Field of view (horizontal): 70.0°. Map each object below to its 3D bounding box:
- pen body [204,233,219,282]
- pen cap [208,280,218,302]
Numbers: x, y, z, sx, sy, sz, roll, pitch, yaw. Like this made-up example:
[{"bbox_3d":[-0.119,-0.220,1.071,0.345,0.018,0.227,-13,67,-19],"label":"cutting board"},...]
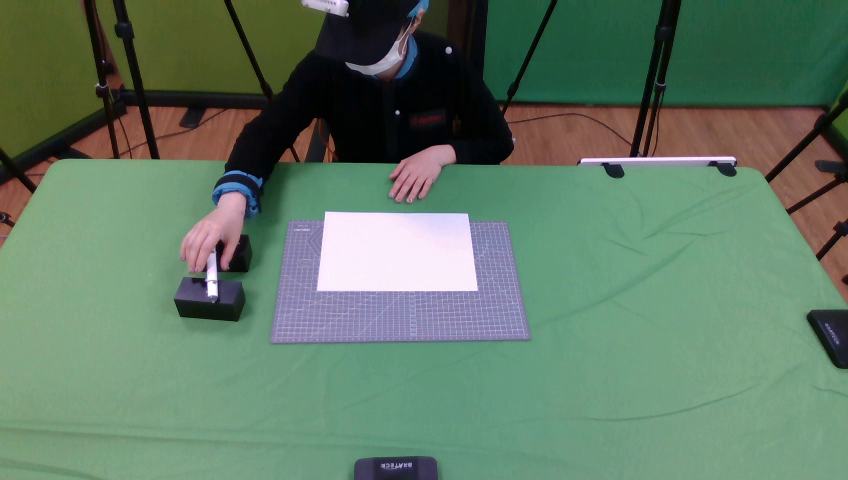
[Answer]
[{"bbox_3d":[-0.373,0.041,1.064,0.017,0.017,0.143,-11,49,-15],"label":"pen body"},{"bbox_3d":[-0.356,0.086,1.021,0.017,0.017,0.038,-9,47,-12],"label":"pen cap"}]
